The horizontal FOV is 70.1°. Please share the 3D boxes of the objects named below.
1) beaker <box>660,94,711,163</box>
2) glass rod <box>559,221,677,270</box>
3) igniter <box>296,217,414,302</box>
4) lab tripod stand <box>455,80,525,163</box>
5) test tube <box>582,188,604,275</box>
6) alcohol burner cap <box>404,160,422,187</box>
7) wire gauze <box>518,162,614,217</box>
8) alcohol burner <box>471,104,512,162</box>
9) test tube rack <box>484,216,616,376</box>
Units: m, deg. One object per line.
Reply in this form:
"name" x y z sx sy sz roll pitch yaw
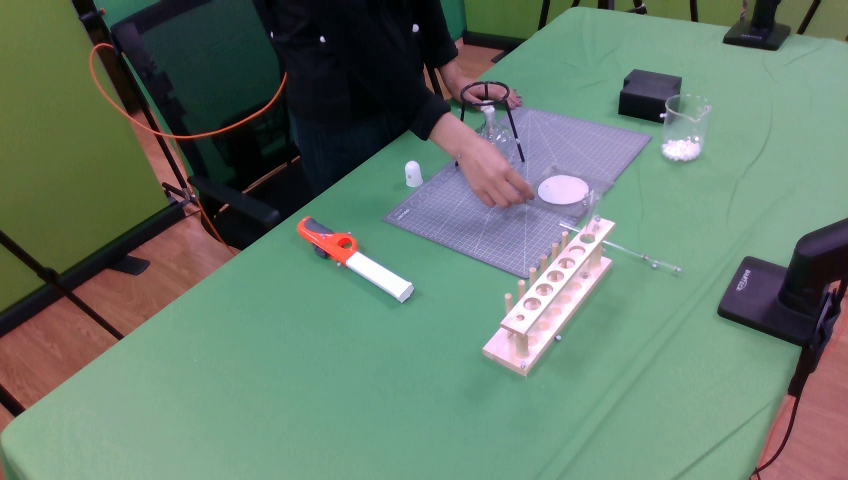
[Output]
"beaker" 0.457 -0.192 1.063 0.074 0.101 0.083 -7 41 4
"glass rod" 0.292 0.007 0.927 0.198 0.008 0.008 26 52 36
"igniter" -0.121 0.025 0.970 0.274 0.025 0.057 29 63 37
"lab tripod stand" 0.121 -0.219 1.126 0.148 0.132 0.147 -4 39 4
"test tube" 0.229 -0.007 0.822 0.017 0.151 0.017 -3 42 3
"alcohol burner cap" -0.022 -0.125 1.118 0.034 0.048 0.033 -4 40 4
"wire gauze" 0.245 -0.088 1.046 0.120 0.011 0.125 25 50 32
"alcohol burner" 0.125 -0.207 1.126 0.078 0.119 0.077 -5 43 5
"test tube rack" 0.174 0.064 0.823 0.066 0.085 0.243 23 49 33
